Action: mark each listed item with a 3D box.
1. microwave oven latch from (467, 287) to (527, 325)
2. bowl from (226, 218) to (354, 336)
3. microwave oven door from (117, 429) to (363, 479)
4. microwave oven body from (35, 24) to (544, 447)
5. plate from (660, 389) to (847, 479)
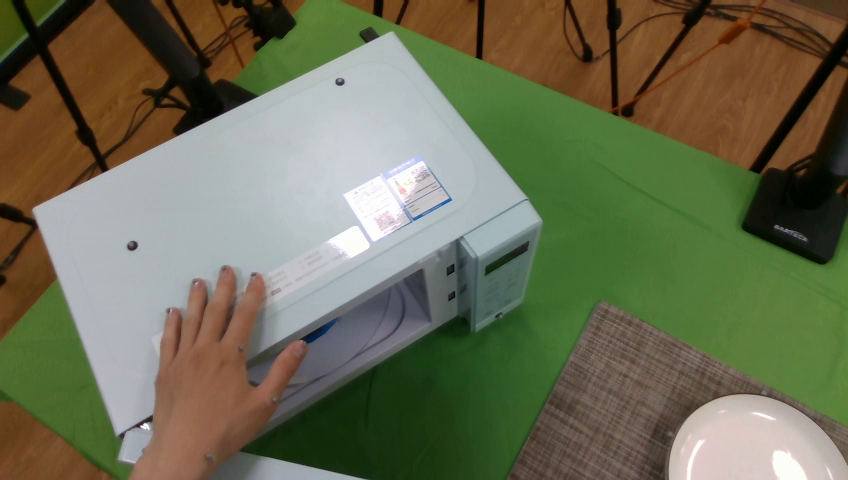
[{"bbox_3d":[0.095,0.077,0.786,0.079,0.030,0.030,-28,67,-9],"label":"microwave oven latch"},{"bbox_3d":[-0.155,0.056,0.740,0.151,0.077,0.150,-1,60,3],"label":"bowl"},{"bbox_3d":[-0.081,0.248,0.601,0.355,0.245,0.039,9,66,7],"label":"microwave oven door"},{"bbox_3d":[-0.139,0.010,0.723,0.442,0.262,0.323,-30,67,-10],"label":"microwave oven body"},{"bbox_3d":[0.374,0.277,0.691,0.207,0.039,0.206,-1,65,2],"label":"plate"}]
